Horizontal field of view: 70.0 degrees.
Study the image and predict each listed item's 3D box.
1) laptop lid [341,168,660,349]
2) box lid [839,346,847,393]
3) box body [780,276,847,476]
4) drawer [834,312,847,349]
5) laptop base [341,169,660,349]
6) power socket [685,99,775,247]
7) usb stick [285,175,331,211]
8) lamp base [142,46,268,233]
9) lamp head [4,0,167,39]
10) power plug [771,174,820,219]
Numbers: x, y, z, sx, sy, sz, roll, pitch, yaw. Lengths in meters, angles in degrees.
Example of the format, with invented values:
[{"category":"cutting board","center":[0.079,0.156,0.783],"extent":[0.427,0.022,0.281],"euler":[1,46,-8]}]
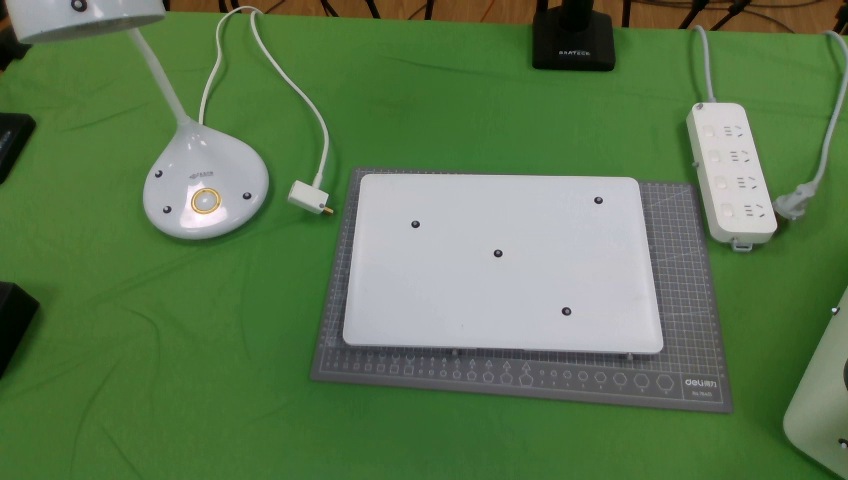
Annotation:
[{"category":"laptop lid","center":[0.087,0.013,0.715],"extent":[0.356,0.013,0.239],"euler":[2,62,4]},{"category":"box lid","center":[0.546,0.060,0.515],"extent":[0.261,0.015,0.370],"euler":[34,67,20]},{"category":"box body","center":[0.548,0.099,0.578],"extent":[0.252,0.162,0.363],"euler":[34,66,20]},{"category":"drawer","center":[0.575,0.067,0.624],"extent":[0.193,0.074,0.211],"euler":[32,71,23]},{"category":"laptop base","center":[0.088,0.017,0.727],"extent":[0.354,0.023,0.233],"euler":[1,63,3]},{"category":"power socket","center":[0.387,-0.095,0.775],"extent":[0.072,0.033,0.224],"euler":[3,59,3]},{"category":"usb stick","center":[-0.143,-0.057,0.766],"extent":[0.059,0.021,0.027],"euler":[28,64,-20]},{"category":"lamp base","center":[-0.293,-0.127,0.732],"extent":[0.161,0.182,0.177],"euler":[-21,58,-11]},{"category":"lamp head","center":[-0.273,-0.224,0.466],"extent":[0.112,0.112,0.123],"euler":[-12,104,3]},{"category":"power plug","center":[0.457,-0.049,0.741],"extent":[0.073,0.053,0.035],"euler":[-11,54,-24]}]
